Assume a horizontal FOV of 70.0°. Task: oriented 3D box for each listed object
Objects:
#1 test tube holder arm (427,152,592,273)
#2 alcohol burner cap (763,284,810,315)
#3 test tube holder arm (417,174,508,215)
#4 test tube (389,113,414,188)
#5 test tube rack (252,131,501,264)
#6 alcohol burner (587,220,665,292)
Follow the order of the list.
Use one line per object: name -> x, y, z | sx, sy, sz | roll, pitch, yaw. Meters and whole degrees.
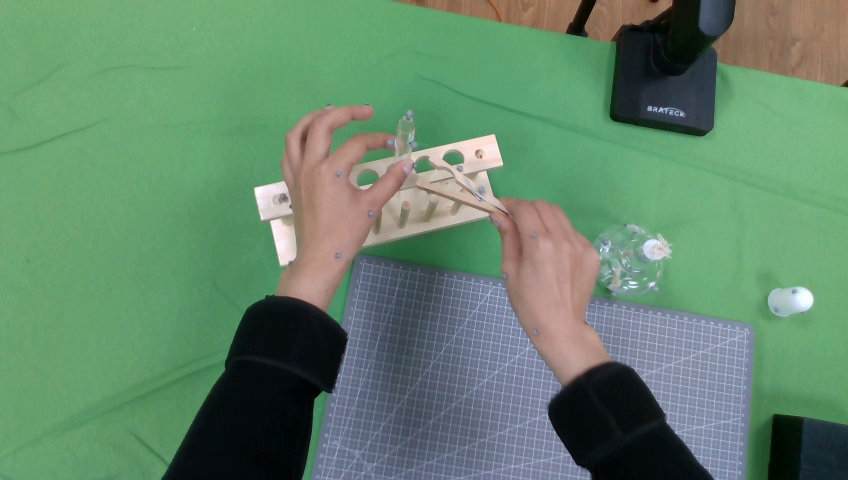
test tube holder arm -> 0.077, -0.025, 0.550 | 0.178, 0.015, 0.013 | 34, 87, 4
alcohol burner cap -> 0.403, 0.064, 0.669 | 0.034, 0.048, 0.033 | 1, 78, -3
test tube holder arm -> 0.036, -0.041, 0.552 | 0.088, 0.015, 0.010 | 18, 85, 3
test tube -> -0.023, -0.078, 0.559 | 0.017, 0.150, 0.017 | 1, 76, -5
test tube rack -> -0.043, -0.042, 0.627 | 0.243, 0.085, 0.066 | -14, 80, -7
alcohol burner -> 0.214, 0.014, 0.626 | 0.078, 0.119, 0.077 | 1, 79, -6
